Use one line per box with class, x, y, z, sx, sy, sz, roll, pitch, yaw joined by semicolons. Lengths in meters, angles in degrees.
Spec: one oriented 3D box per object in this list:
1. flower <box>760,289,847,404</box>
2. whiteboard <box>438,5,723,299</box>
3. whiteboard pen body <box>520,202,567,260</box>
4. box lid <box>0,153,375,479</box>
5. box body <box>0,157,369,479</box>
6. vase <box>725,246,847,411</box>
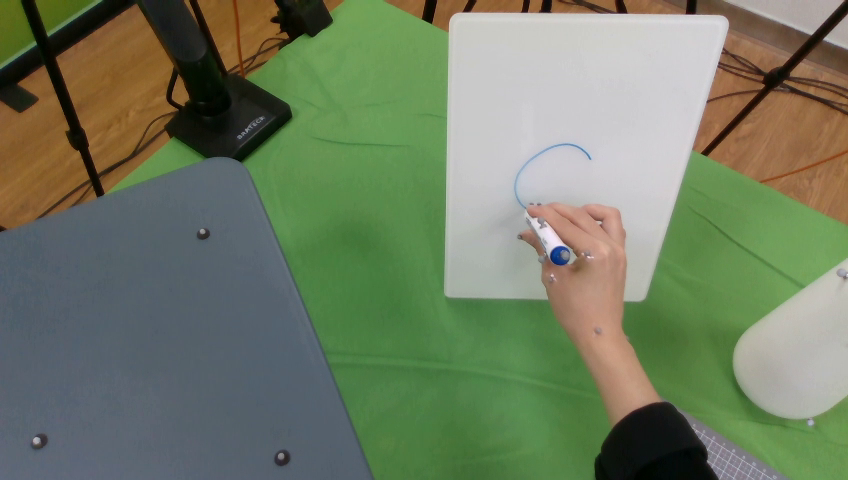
flower;0.345;0.021;0.464;0.044;0.364;0.038;26;45;19
whiteboard;0.126;-0.101;0.610;0.217;0.308;0.142;1;40;2
whiteboard pen body;0.097;-0.013;0.513;0.017;0.017;0.140;-3;18;-1
box lid;-0.214;0.100;0.451;0.263;0.015;0.368;-23;62;-13
box body;-0.212;0.140;0.514;0.254;0.162;0.360;-23;62;-13
vase;0.344;0.077;0.528;0.098;0.201;0.097;0;57;1
